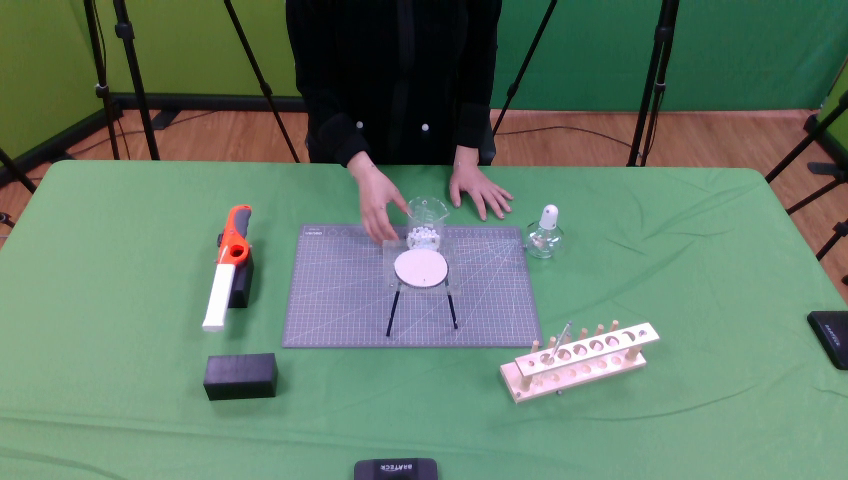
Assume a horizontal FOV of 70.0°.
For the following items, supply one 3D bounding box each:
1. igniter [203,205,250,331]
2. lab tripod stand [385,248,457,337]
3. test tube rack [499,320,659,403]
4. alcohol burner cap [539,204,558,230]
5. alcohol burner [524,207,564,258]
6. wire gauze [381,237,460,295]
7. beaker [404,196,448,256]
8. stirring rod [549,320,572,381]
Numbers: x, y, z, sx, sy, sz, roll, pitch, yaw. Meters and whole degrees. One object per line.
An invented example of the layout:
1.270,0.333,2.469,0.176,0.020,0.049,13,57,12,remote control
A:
-0.345,0.039,1.065,0.057,0.025,0.274,3,49,-6,igniter
-0.010,0.087,1.032,0.148,0.132,0.147,1,45,-1,lab tripod stand
0.252,0.187,0.994,0.243,0.085,0.066,-12,48,-15,test tube rack
0.239,-0.045,1.148,0.034,0.048,0.033,2,42,-1,alcohol burner cap
0.236,-0.020,1.174,0.078,0.120,0.077,1,48,-1,alcohol burner
-0.008,0.040,0.983,0.125,0.011,0.120,1,44,-4,wire gauze
0.001,-0.024,1.164,0.084,0.101,0.073,6,46,0,beaker
0.202,0.168,0.901,0.006,0.177,0.014,-16,54,-11,stirring rod
